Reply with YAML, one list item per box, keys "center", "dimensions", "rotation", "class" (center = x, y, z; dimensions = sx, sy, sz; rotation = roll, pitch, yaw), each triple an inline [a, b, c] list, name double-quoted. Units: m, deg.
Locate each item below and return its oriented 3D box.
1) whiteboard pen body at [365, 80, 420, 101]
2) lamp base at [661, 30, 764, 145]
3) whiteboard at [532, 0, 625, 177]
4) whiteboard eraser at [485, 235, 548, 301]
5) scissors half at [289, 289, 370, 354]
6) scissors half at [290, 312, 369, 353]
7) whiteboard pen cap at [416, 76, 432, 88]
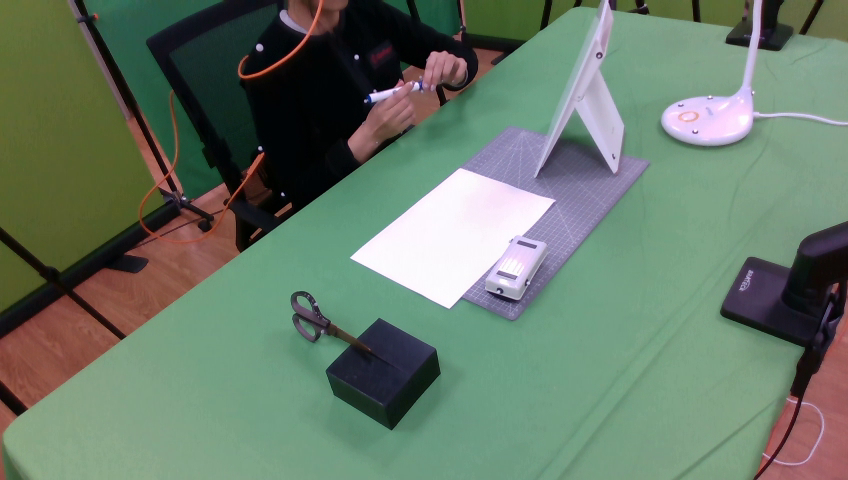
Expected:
- center: [-0.052, -0.296, 1.190]
  dimensions: [0.141, 0.017, 0.017]
  rotation: [-22, 41, -24]
  class: "whiteboard pen body"
- center: [0.535, -0.287, 1.096]
  dimensions: [0.179, 0.181, 0.159]
  rotation: [-10, 40, -4]
  class: "lamp base"
- center: [0.320, -0.259, 1.050]
  dimensions: [0.144, 0.306, 0.217]
  rotation: [21, 45, 5]
  class: "whiteboard"
- center: [0.137, 0.042, 0.887]
  dimensions: [0.055, 0.042, 0.113]
  rotation: [15, 46, 27]
  class: "whiteboard eraser"
- center: [-0.128, 0.110, 0.808]
  dimensions: [0.013, 0.040, 0.173]
  rotation: [-17, 35, -43]
  class: "scissors half"
- center: [-0.128, 0.129, 0.816]
  dimensions: [0.013, 0.040, 0.173]
  rotation: [-23, 21, -40]
  class: "scissors half"
- center: [-0.001, -0.316, 1.212]
  dimensions: [0.033, 0.018, 0.018]
  rotation: [-24, 42, -29]
  class: "whiteboard pen cap"
